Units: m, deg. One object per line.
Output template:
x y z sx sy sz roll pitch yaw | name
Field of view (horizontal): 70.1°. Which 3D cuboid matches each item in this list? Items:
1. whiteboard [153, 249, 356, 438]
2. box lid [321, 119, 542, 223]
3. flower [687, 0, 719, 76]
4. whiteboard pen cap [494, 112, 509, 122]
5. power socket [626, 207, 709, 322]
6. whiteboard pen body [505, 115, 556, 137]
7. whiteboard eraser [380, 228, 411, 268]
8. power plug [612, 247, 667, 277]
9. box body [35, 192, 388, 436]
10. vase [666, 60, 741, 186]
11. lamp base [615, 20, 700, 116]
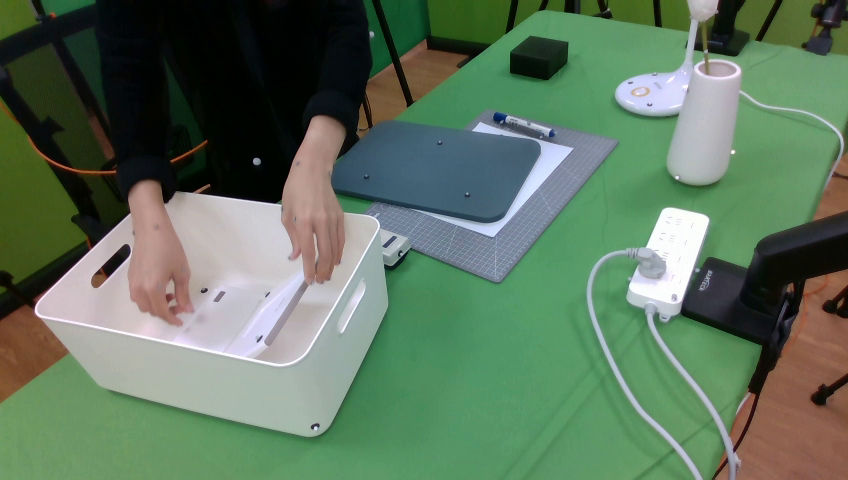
-0.242 0.100 0.799 0.304 0.144 0.217 8 43 15 | whiteboard
0.017 -0.141 1.145 0.369 0.015 0.263 12 44 22 | box lid
0.436 -0.242 0.934 0.038 0.364 0.043 -24 49 8 | flower
0.161 -0.253 1.248 0.033 0.018 0.018 27 51 36 | whiteboard pen cap
0.360 0.026 0.886 0.072 0.033 0.227 17 46 27 | power socket
0.203 -0.232 1.213 0.139 0.017 0.017 27 51 36 | whiteboard pen body
-0.081 0.007 0.964 0.112 0.042 0.056 19 49 27 | whiteboard eraser
0.306 0.031 0.852 0.072 0.053 0.035 21 48 38 | power plug
-0.251 0.088 0.799 0.362 0.161 0.254 7 42 16 | box body
0.463 -0.189 0.994 0.098 0.201 0.097 -3 40 3 | vase
0.484 -0.364 1.211 0.180 0.181 0.159 -15 41 -14 | lamp base
